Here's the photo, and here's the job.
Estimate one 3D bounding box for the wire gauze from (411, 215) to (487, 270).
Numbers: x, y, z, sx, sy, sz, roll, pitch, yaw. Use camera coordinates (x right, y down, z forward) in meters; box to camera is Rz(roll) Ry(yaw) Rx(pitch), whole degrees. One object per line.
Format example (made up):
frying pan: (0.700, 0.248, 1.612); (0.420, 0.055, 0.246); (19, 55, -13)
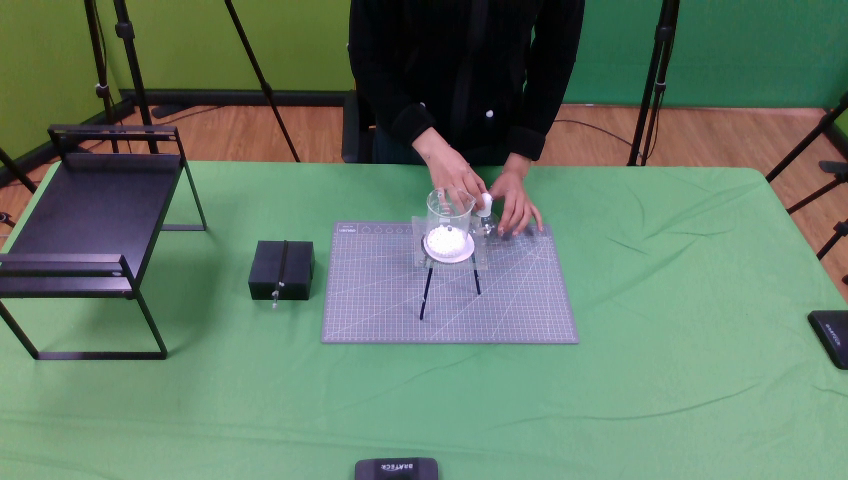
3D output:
wire gauze: (0.041, 0.003, 1.026); (0.125, 0.011, 0.120); (0, 46, -1)

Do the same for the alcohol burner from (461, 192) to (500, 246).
alcohol burner: (0.112, -0.046, 1.184); (0.078, 0.120, 0.077); (1, 43, -1)

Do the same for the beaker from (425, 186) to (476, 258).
beaker: (0.041, -0.027, 0.989); (0.084, 0.101, 0.073); (-12, 48, -15)

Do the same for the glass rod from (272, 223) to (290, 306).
glass rod: (-0.255, 0.039, 1.084); (0.008, 0.008, 0.198); (1, 46, -3)

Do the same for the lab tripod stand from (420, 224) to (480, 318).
lab tripod stand: (0.034, 0.052, 1.070); (0.148, 0.132, 0.147); (3, 48, -3)

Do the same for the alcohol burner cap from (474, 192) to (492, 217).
alcohol burner cap: (0.115, -0.071, 1.159); (0.034, 0.048, 0.033); (3, 51, -4)
